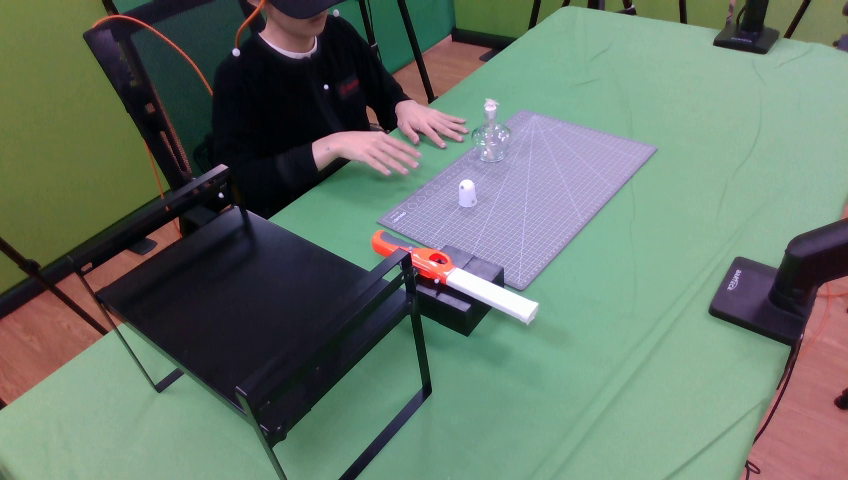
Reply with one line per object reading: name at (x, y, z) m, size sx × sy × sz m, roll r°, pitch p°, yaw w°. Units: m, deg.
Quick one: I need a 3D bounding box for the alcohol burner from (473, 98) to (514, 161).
alcohol burner at (0.127, -0.208, 1.123) m, size 0.078 × 0.119 × 0.077 m, roll -5°, pitch 39°, yaw 5°

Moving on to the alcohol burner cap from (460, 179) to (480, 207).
alcohol burner cap at (0.078, -0.084, 1.041) m, size 0.034 × 0.048 × 0.033 m, roll -5°, pitch 43°, yaw 5°

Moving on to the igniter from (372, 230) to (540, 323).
igniter at (0.032, 0.045, 0.842) m, size 0.274 × 0.025 × 0.057 m, roll 24°, pitch 47°, yaw 28°
